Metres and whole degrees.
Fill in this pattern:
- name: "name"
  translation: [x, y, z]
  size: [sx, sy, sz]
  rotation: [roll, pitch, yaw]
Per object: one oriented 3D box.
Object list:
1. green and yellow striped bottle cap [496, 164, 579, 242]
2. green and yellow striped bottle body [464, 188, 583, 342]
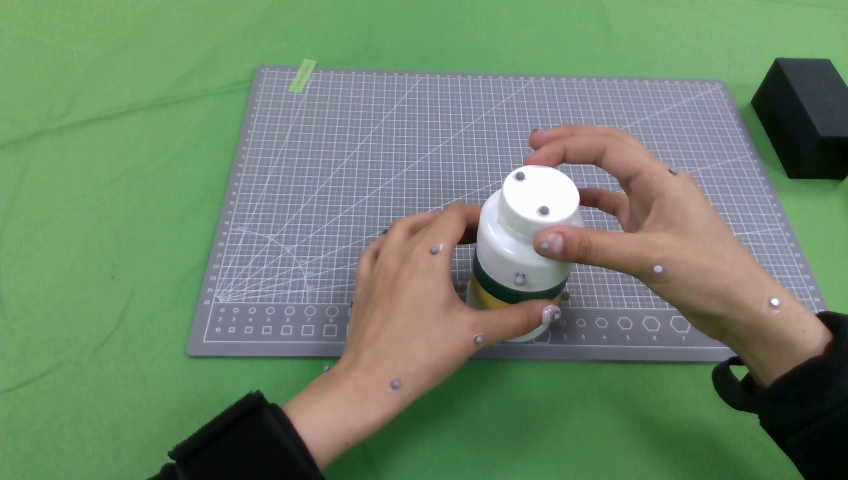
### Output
- name: "green and yellow striped bottle cap"
  translation: [0.064, -0.021, 0.341]
  size: [0.045, 0.020, 0.045]
  rotation: [2, 54, -2]
- name: "green and yellow striped bottle body"
  translation: [0.061, 0.010, 0.382]
  size: [0.063, 0.120, 0.062]
  rotation: [1, 53, -1]
